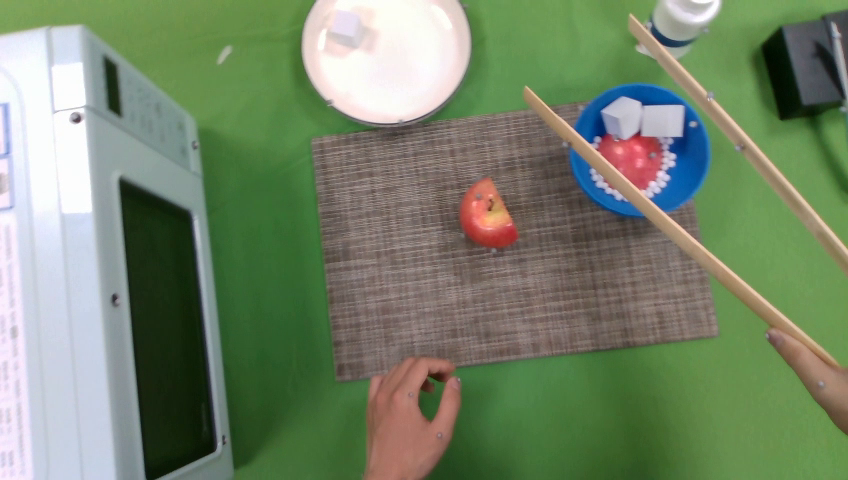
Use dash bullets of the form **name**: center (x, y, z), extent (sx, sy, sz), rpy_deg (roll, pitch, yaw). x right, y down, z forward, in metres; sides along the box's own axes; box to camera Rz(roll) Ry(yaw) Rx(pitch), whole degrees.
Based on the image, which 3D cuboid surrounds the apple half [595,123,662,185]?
- **apple half**: center (0.237, -0.101, 0.691), extent (0.081, 0.033, 0.081), rpy_deg (0, 81, 3)

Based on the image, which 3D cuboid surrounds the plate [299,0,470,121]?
- **plate**: center (-0.048, -0.244, 0.751), extent (0.207, 0.039, 0.207), rpy_deg (0, 83, 2)

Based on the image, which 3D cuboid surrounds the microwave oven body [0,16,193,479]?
- **microwave oven body**: center (-0.411, 0.060, 0.609), extent (0.326, 0.261, 0.440), rpy_deg (-9, 83, 1)

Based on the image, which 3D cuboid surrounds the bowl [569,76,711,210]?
- **bowl**: center (0.236, -0.101, 0.695), extent (0.151, 0.077, 0.151), rpy_deg (0, 82, 3)

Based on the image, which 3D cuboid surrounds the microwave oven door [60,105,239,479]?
- **microwave oven door**: center (-0.260, 0.077, 0.596), extent (0.039, 0.244, 0.354), rpy_deg (-10, 82, 2)

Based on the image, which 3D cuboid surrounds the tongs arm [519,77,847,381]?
- **tongs arm**: center (0.215, -0.021, 0.515), extent (0.028, 0.028, 0.384), rpy_deg (-39, 68, -8)

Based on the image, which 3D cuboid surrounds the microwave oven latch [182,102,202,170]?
- **microwave oven latch**: center (-0.287, -0.122, 0.725), extent (0.030, 0.029, 0.079), rpy_deg (-9, 83, 1)

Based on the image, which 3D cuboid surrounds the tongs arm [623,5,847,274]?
- **tongs arm**: center (0.270, -0.060, 0.516), extent (0.051, 0.027, 0.381), rpy_deg (-32, 68, -1)

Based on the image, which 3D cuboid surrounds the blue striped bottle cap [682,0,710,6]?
- **blue striped bottle cap**: center (0.294, -0.275, 0.647), extent (0.044, 0.020, 0.044), rpy_deg (0, 85, 2)

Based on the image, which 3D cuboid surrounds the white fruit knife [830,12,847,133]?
- **white fruit knife**: center (0.486, -0.156, 0.692), extent (0.016, 0.027, 0.208), rpy_deg (-15, 99, 18)

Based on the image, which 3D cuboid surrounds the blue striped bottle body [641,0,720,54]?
- **blue striped bottle body**: center (0.297, -0.267, 0.697), extent (0.063, 0.121, 0.063), rpy_deg (0, 82, 3)

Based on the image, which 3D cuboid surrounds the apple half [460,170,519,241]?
- **apple half**: center (0.069, -0.033, 0.696), extent (0.053, 0.075, 0.080), rpy_deg (-28, 85, 5)
